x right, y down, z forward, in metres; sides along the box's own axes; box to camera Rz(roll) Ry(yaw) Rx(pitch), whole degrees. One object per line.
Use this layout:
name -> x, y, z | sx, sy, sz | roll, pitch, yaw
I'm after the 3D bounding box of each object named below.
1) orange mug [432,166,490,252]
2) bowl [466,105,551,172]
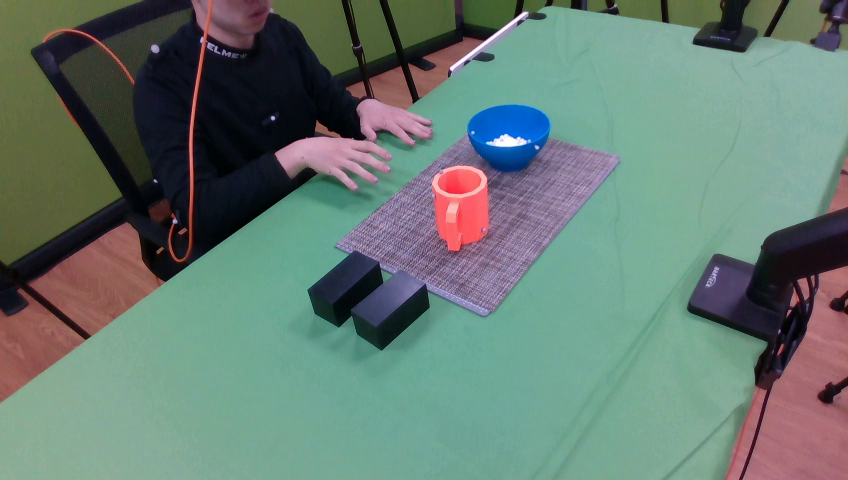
orange mug -> 0.055, -0.045, 0.948 | 0.083, 0.101, 0.126 | 4, 38, 14
bowl -> 0.155, -0.177, 1.105 | 0.151, 0.077, 0.150 | -3, 40, 3
